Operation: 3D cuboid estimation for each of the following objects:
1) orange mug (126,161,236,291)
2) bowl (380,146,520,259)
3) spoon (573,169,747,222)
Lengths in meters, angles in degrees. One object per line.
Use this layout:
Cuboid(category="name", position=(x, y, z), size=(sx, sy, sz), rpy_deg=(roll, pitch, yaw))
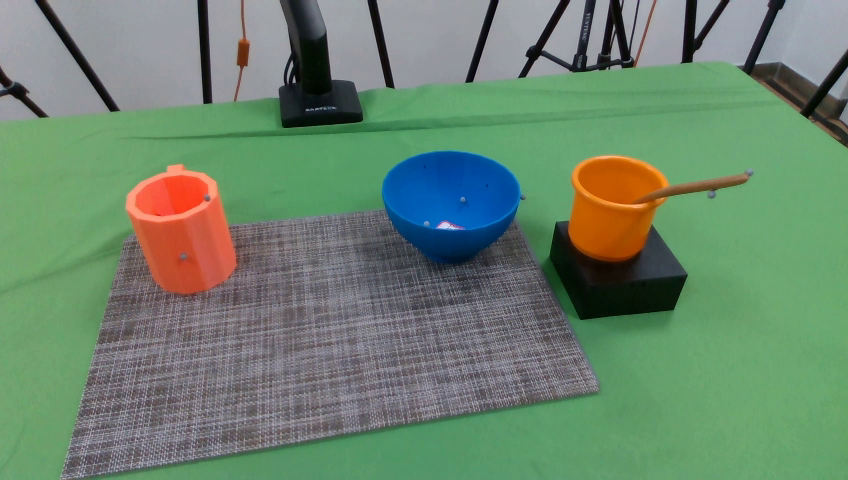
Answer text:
Cuboid(category="orange mug", position=(-0.253, -0.024, 0.638), size=(0.083, 0.102, 0.124), rpy_deg=(-11, 47, -13))
Cuboid(category="bowl", position=(0.027, -0.032, 0.670), size=(0.151, 0.077, 0.150), rpy_deg=(1, 40, 0))
Cuboid(category="spoon", position=(0.207, -0.041, 0.560), size=(0.041, 0.193, 0.021), rpy_deg=(-26, 91, -27))
